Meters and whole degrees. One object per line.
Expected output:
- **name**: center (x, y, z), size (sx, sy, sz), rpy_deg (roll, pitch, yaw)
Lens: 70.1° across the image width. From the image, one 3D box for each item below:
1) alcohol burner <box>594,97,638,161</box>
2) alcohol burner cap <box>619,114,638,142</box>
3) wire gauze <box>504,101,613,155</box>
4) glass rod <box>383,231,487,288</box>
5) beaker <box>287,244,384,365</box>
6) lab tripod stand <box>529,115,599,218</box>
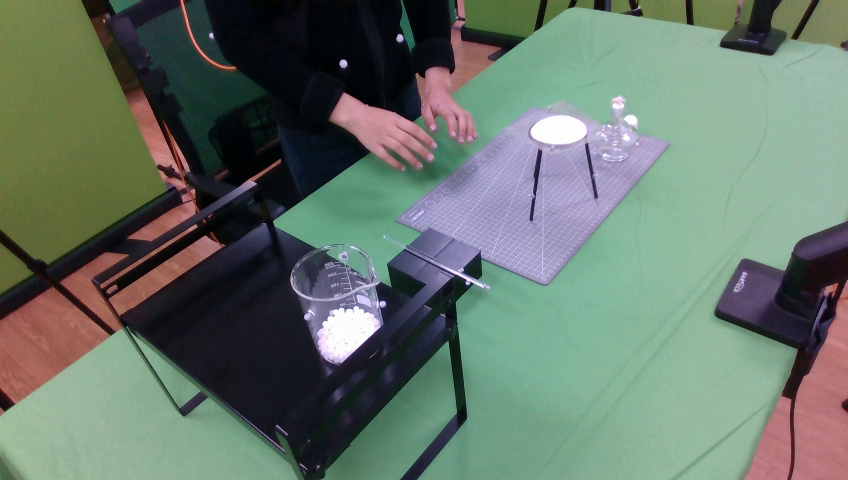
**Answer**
- **alcohol burner**: center (0.345, -0.203, 1.083), size (0.078, 0.119, 0.077), rpy_deg (-5, 42, 5)
- **alcohol burner cap**: center (0.388, -0.214, 1.145), size (0.034, 0.048, 0.033), rpy_deg (-3, 39, 3)
- **wire gauze**: center (0.211, -0.176, 0.955), size (0.125, 0.011, 0.120), rpy_deg (-24, 44, -18)
- **glass rod**: center (0.011, 0.027, 0.879), size (0.198, 0.008, 0.008), rpy_deg (27, 51, 34)
- **beaker**: center (-0.076, 0.065, 0.574), size (0.083, 0.101, 0.074), rpy_deg (7, 44, 15)
- **lab tripod stand**: center (0.217, -0.123, 0.995), size (0.148, 0.132, 0.147), rpy_deg (-4, 42, 4)
